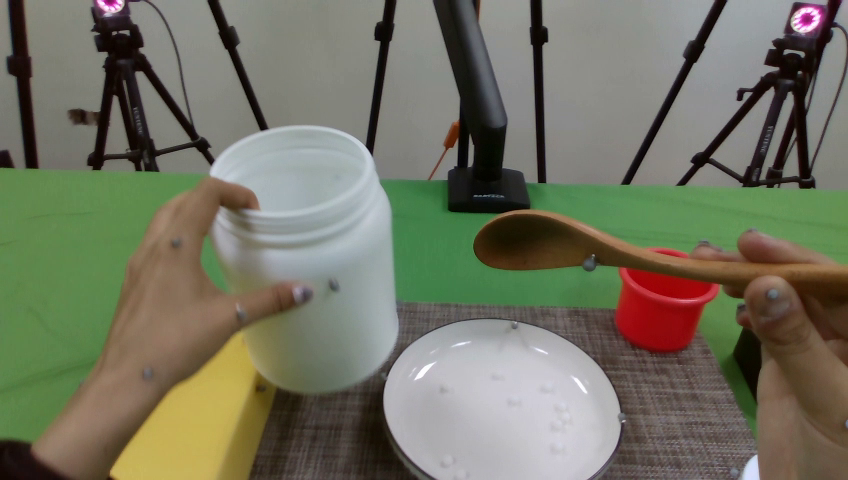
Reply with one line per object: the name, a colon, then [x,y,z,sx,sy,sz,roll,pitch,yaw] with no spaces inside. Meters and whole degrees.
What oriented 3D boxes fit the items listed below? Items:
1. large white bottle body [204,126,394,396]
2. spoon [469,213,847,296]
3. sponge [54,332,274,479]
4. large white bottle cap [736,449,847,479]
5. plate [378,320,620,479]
large white bottle body: [-0.092,0.018,0.471,0.130,0.186,0.129,0,42,1]
spoon: [0.111,0.010,0.258,0.192,0.042,0.021,8,51,28]
sponge: [-0.202,0.164,0.489,0.118,0.061,0.205,0,32,1]
large white bottle cap: [0.303,0.214,0.470,0.115,0.018,0.114,3,33,-2]
plate: [0.064,0.151,0.537,0.209,0.038,0.207,1,32,-1]
